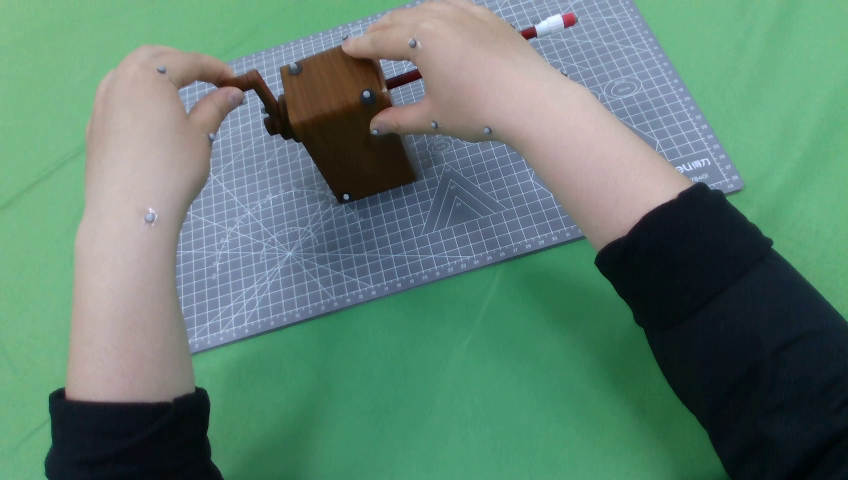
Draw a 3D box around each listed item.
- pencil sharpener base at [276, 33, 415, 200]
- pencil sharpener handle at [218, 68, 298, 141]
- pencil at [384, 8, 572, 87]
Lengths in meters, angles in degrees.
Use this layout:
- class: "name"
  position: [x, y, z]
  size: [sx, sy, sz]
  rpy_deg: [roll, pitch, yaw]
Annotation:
- class: "pencil sharpener base"
  position: [-0.058, -0.089, 0.461]
  size: [0.077, 0.108, 0.061]
  rpy_deg: [-20, 60, 2]
- class: "pencil sharpener handle"
  position: [-0.115, -0.092, 0.425]
  size: [0.030, 0.068, 0.035]
  rpy_deg: [-20, 60, 2]
- class: "pencil"
  position: [0.013, -0.128, 0.432]
  size: [0.194, 0.012, 0.012]
  rpy_deg: [-19, 60, 3]
